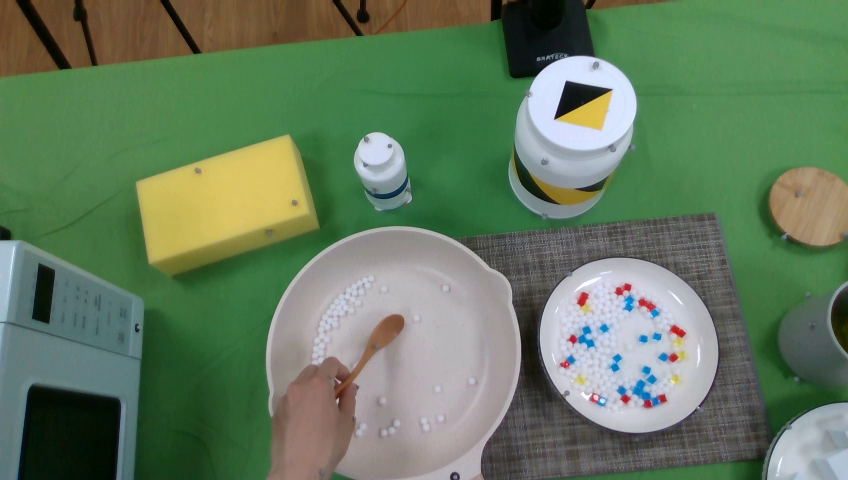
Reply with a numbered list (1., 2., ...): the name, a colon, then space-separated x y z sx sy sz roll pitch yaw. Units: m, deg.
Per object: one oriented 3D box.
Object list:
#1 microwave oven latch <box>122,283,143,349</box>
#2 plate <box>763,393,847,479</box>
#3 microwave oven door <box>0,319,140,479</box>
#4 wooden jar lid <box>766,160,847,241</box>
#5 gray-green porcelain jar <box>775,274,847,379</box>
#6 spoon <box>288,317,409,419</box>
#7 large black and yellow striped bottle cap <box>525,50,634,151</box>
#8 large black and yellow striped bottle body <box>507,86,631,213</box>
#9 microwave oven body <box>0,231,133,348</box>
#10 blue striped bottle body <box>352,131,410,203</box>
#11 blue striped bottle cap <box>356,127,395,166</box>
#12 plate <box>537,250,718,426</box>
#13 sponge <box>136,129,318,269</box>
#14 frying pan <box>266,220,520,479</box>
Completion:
1. microwave oven latch: -0.366 0.094 0.748 0.030 0.029 0.078 -4 73 2
2. plate: 0.476 0.274 0.665 0.207 0.039 0.206 -1 72 3
3. microwave oven door: -0.359 0.271 0.586 0.039 0.245 0.353 -5 72 2
4. wooden jar lid: 0.491 -0.049 0.774 0.108 0.021 0.108 -1 74 3
5. gray-green porcelain jar: 0.466 0.099 0.673 0.106 0.127 0.105 -1 72 3
6. spoon: -0.081 0.140 0.682 0.041 0.021 0.194 55 40 3
7. large black and yellow striped bottle cap: 0.167 -0.150 0.649 0.115 0.019 0.114 -1 74 3
8. large black and yellow striped bottle body: 0.171 -0.123 0.729 0.131 0.185 0.130 -1 72 3
9. microwave oven body: -0.506 0.245 0.608 0.326 0.261 0.439 -5 73 1
10. blue striped bottle body: -0.054 -0.096 0.766 0.063 0.121 0.062 -1 72 3
11. blue striped bottle cap: -0.057 -0.111 0.716 0.044 0.021 0.044 -2 70 5
12. plate: 0.238 0.115 0.724 0.209 0.038 0.208 -1 73 4
13. sponge: -0.256 -0.053 0.795 0.207 0.061 0.117 -19 73 -3
14. frying pan: 0.013 0.204 0.675 0.307 0.103 0.483 -28 65 -4
